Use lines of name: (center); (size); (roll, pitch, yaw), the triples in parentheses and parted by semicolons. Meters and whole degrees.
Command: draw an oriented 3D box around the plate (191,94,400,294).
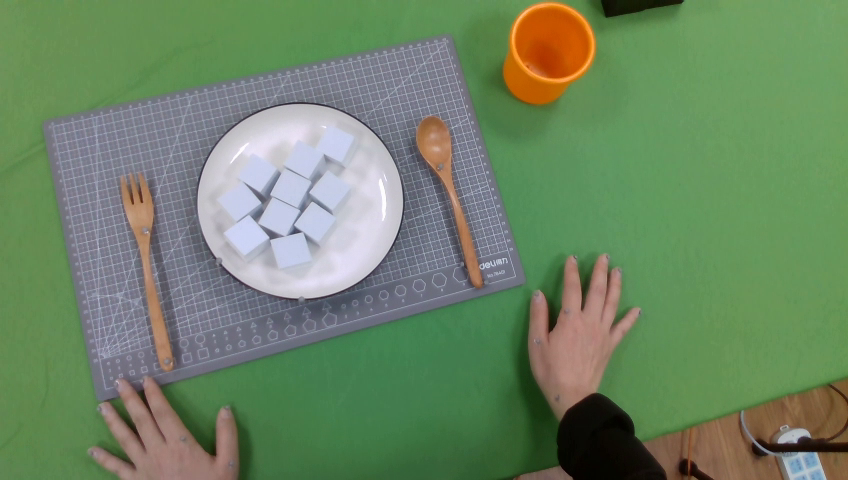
plate: (-0.130, -0.046, 0.630); (0.208, 0.039, 0.207); (1, 81, -6)

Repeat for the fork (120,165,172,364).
fork: (-0.279, 0.023, 0.613); (0.028, 0.018, 0.206); (-12, 80, -13)

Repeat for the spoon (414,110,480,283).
spoon: (0.028, -0.047, 0.653); (0.042, 0.021, 0.193); (-13, 81, -26)
